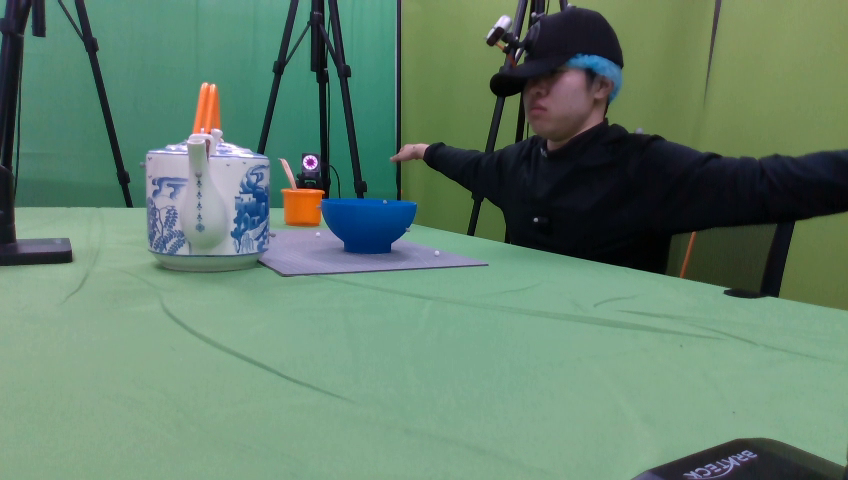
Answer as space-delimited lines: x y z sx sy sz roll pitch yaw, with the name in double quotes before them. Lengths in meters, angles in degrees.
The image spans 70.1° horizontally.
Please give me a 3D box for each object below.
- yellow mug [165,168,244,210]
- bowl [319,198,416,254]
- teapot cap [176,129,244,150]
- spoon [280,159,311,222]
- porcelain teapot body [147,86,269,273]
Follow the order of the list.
"yellow mug" -0.370 -0.086 1.027 0.131 0.064 0.100 5 7 4
"bowl" -0.089 -0.022 0.941 0.151 0.077 0.151 2 7 0
"teapot cap" -0.268 -0.117 0.760 0.085 0.044 0.085 4 9 0
"spoon" -0.285 -0.111 1.320 0.042 0.193 0.021 -3 -35 -31
"porcelain teapot body" -0.263 -0.074 0.738 0.146 0.225 0.204 1 8 -16
